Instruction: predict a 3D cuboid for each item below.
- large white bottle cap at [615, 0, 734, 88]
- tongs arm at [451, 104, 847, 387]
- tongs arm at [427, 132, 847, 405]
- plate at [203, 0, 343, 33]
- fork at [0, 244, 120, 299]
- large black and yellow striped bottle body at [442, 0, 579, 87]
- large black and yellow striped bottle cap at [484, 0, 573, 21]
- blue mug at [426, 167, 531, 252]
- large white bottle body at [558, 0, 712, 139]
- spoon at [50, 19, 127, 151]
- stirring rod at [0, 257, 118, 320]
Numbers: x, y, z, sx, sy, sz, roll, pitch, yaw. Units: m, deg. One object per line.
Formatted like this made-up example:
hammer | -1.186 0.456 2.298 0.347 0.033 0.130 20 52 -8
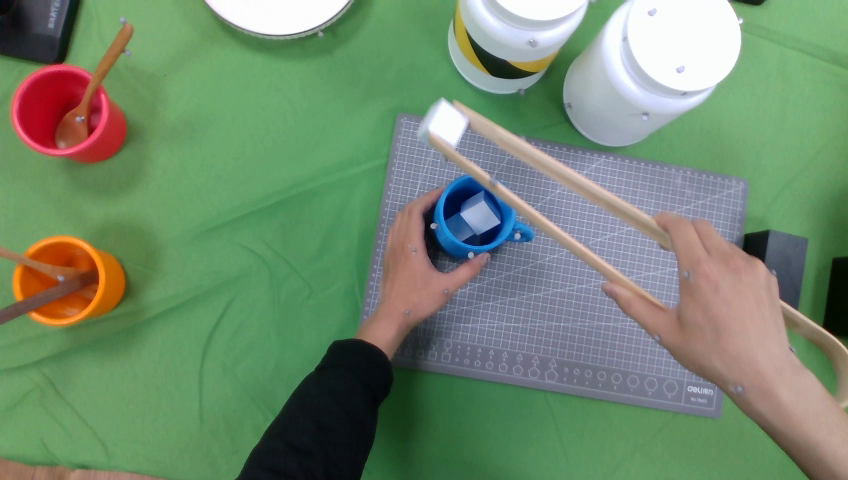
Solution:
large white bottle cap | 0.242 -0.206 0.586 0.115 0.018 0.114 1 85 -6
tongs arm | 0.178 -0.007 0.503 0.386 0.028 0.028 35 72 12
tongs arm | 0.164 0.012 0.497 0.383 0.027 0.050 39 77 13
plate | -0.178 -0.342 0.717 0.208 0.039 0.207 0 86 -5
fork | -0.410 0.016 0.612 0.209 0.018 0.028 34 79 -45
large black and yellow striped bottle body | 0.093 -0.259 0.662 0.131 0.184 0.130 0 85 -5
large black and yellow striped bottle cap | 0.100 -0.268 0.579 0.115 0.019 0.115 0 87 -6
blue mug | 0.063 -0.026 0.678 0.117 0.106 0.082 17 83 -4
large white bottle body | 0.236 -0.197 0.669 0.131 0.184 0.130 0 85 -5
spoon | -0.352 -0.159 0.634 0.194 0.021 0.041 -38 84 37
stirring rod | -0.394 0.057 0.616 0.014 0.006 0.176 57 41 -2
